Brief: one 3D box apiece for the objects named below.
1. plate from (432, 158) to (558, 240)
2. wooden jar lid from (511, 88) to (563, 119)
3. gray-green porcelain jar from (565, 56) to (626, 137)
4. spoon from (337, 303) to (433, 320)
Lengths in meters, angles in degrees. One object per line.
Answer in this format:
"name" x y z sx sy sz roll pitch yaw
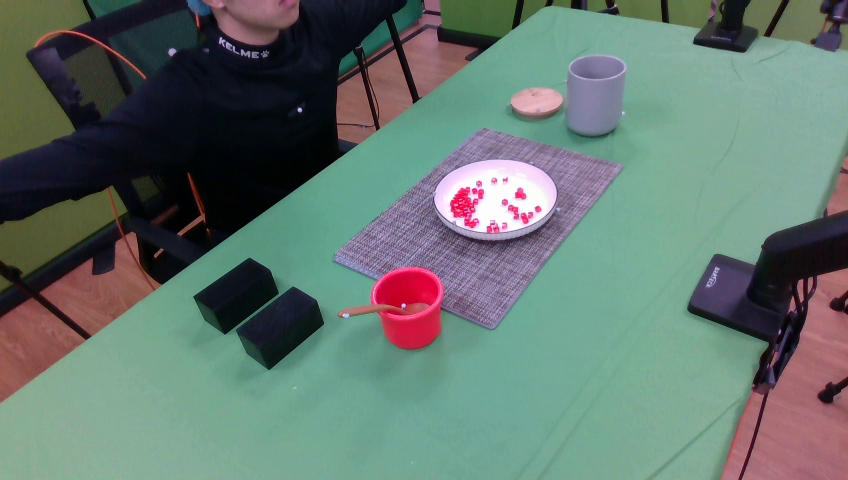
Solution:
"plate" 0.118 -0.066 1.013 0.207 0.039 0.206 -4 41 4
"wooden jar lid" 0.237 -0.286 1.271 0.108 0.021 0.108 -5 42 5
"gray-green porcelain jar" 0.325 -0.271 1.159 0.106 0.127 0.105 -4 41 4
"spoon" -0.048 0.091 0.777 0.041 0.021 0.195 23 5 32
